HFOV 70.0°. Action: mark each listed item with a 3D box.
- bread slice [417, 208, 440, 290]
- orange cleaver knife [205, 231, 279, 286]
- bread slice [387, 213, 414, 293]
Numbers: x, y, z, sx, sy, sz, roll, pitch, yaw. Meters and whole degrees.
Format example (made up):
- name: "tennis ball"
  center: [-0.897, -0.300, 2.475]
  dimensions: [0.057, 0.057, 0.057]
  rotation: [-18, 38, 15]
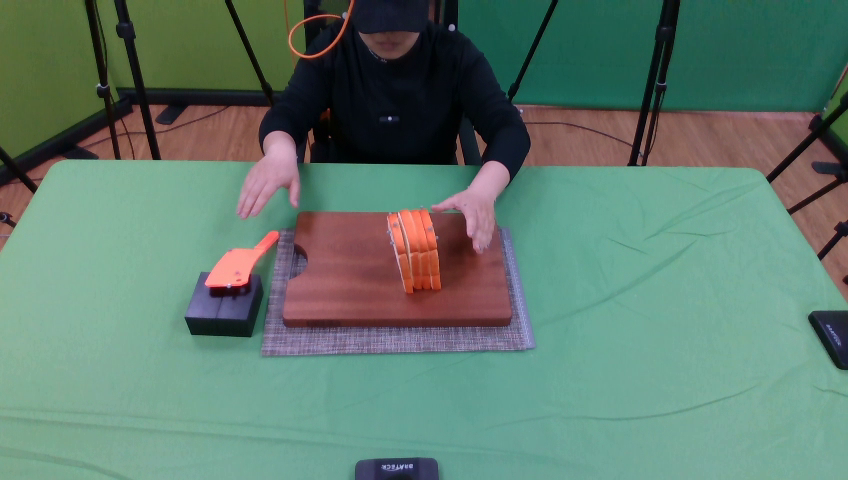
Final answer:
- name: "bread slice"
  center: [0.007, 0.012, 1.073]
  dimensions: [0.018, 0.135, 0.106]
  rotation: [-11, 51, -7]
- name: "orange cleaver knife"
  center: [-0.328, 0.031, 1.108]
  dimensions: [0.077, 0.012, 0.210]
  rotation: [5, 27, 7]
- name: "bread slice"
  center: [-0.043, 0.016, 1.067]
  dimensions: [0.019, 0.132, 0.104]
  rotation: [-15, 46, -4]
